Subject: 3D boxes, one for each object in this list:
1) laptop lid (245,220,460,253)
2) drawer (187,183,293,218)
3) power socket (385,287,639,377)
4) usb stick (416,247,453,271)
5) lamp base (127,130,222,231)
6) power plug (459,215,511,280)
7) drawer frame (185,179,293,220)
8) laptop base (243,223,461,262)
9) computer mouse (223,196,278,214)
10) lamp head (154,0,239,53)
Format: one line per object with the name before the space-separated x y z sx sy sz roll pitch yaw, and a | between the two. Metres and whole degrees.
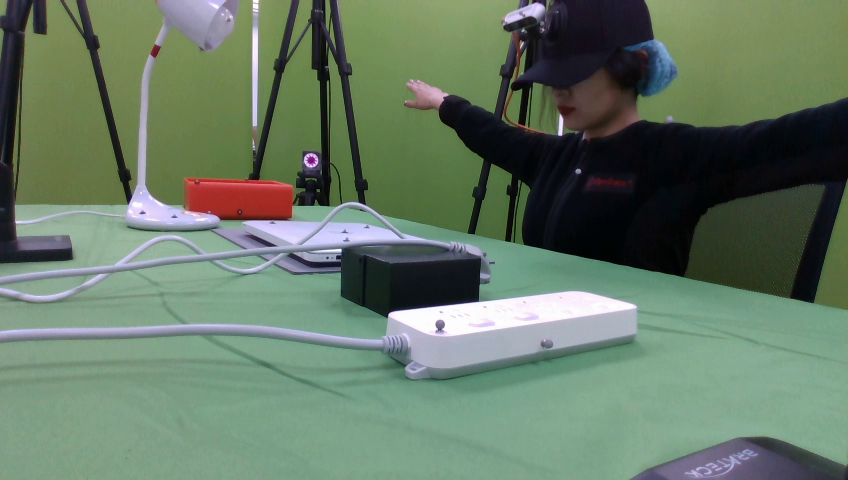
laptop lid | -0.124 -0.009 0.945 0.243 0.013 0.355 1 7 -29
drawer | -0.418 -0.093 1.371 0.213 0.073 0.193 -2 9 -24
power socket | 0.074 0.064 0.462 0.228 0.032 0.072 -3 8 -34
usb stick | 0.009 0.024 0.755 0.027 0.021 0.059 37 -17 -17
lamp base | -0.469 -0.112 1.108 0.179 0.180 0.160 0 7 3
power plug | 0.063 0.010 0.623 0.053 0.072 0.035 -7 39 -1
drawer frame | -0.420 -0.094 1.369 0.214 0.082 0.200 -2 9 -25
laptop base | -0.126 0.002 0.946 0.237 0.023 0.352 2 6 -31
computer mouse | -0.392 -0.079 1.368 0.118 0.041 0.062 -4 7 -24
lamp head | -0.406 -0.402 1.059 0.123 0.112 0.112 25 6 -6
